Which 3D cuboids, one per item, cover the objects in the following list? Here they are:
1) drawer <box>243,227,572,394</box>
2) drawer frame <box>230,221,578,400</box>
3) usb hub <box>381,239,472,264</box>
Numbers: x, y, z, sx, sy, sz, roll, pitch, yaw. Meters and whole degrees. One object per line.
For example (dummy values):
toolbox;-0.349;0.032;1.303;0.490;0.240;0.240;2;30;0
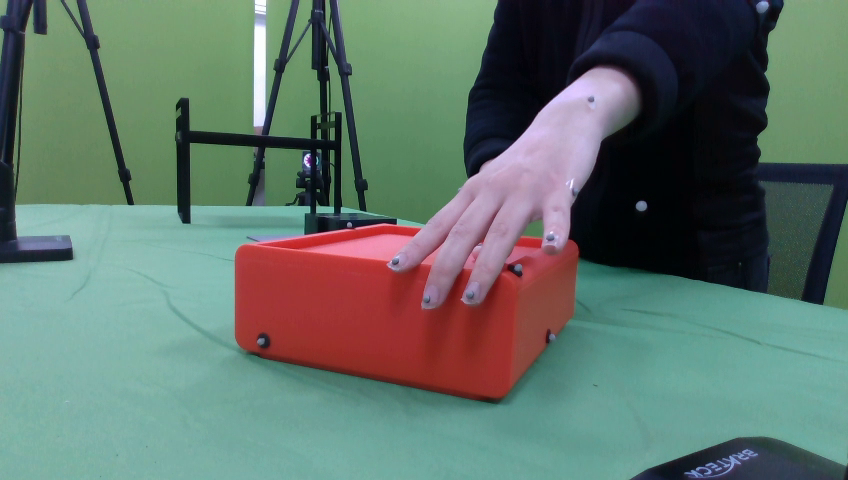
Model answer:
drawer;0.001;0.041;0.480;0.194;0.073;0.212;6;10;22
drawer frame;0.000;0.037;0.473;0.201;0.082;0.214;5;9;22
usb hub;0.005;0.015;0.852;0.126;0.025;0.049;-3;9;-36
